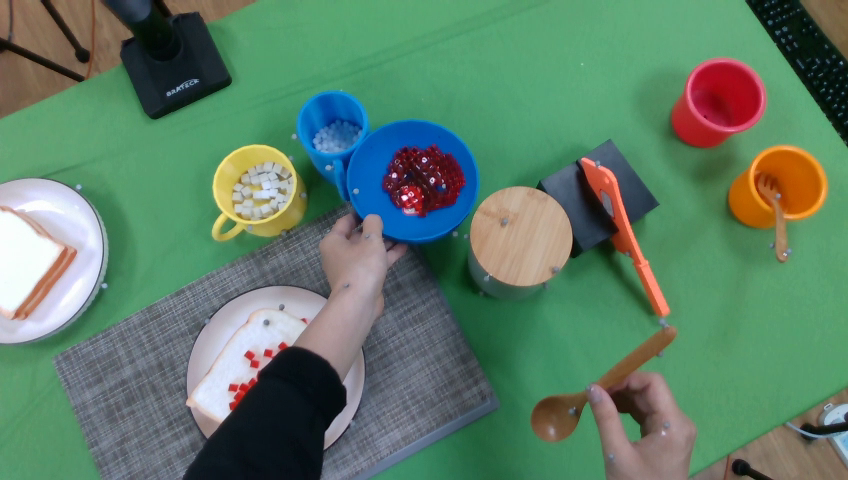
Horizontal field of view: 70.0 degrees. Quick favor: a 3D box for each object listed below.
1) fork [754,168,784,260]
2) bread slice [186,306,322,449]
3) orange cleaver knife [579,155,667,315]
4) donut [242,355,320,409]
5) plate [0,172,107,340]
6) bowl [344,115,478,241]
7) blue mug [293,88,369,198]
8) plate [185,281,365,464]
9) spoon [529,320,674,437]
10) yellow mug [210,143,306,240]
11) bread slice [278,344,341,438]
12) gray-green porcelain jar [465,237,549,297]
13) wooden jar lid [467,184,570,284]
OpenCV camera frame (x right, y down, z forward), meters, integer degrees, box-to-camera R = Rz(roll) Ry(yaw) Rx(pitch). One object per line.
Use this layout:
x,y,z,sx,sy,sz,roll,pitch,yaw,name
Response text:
0.398,-0.035,0.695,0.028,0.019,0.206,35,36,1,fork
-0.176,0.140,0.655,0.107,0.018,0.134,27,73,0,bread slice
0.236,-0.006,0.724,0.012,0.077,0.212,-29,105,-5,orange cleaver knife
-0.167,0.145,0.686,0.099,0.048,0.098,6,67,-13,donut
-0.492,0.020,0.749,0.208,0.039,0.206,0,78,1,plate
-0.015,-0.061,0.714,0.151,0.077,0.150,1,72,-3,bowl
-0.105,-0.108,0.739,0.082,0.106,0.116,-7,77,-1,blue mug
-0.172,0.153,0.713,0.209,0.038,0.208,0,78,1,plate
0.149,0.124,0.526,0.022,0.194,0.041,-25,68,-39,spoon
-0.213,-0.051,0.747,0.099,0.064,0.130,40,82,9,yellow mug
-0.175,0.166,0.713,0.104,0.019,0.131,28,77,8,bread slice
0.102,0.009,0.701,0.106,0.127,0.105,0,77,0,gray-green porcelain jar
0.099,-0.006,0.639,0.108,0.021,0.108,1,79,-3,wooden jar lid
